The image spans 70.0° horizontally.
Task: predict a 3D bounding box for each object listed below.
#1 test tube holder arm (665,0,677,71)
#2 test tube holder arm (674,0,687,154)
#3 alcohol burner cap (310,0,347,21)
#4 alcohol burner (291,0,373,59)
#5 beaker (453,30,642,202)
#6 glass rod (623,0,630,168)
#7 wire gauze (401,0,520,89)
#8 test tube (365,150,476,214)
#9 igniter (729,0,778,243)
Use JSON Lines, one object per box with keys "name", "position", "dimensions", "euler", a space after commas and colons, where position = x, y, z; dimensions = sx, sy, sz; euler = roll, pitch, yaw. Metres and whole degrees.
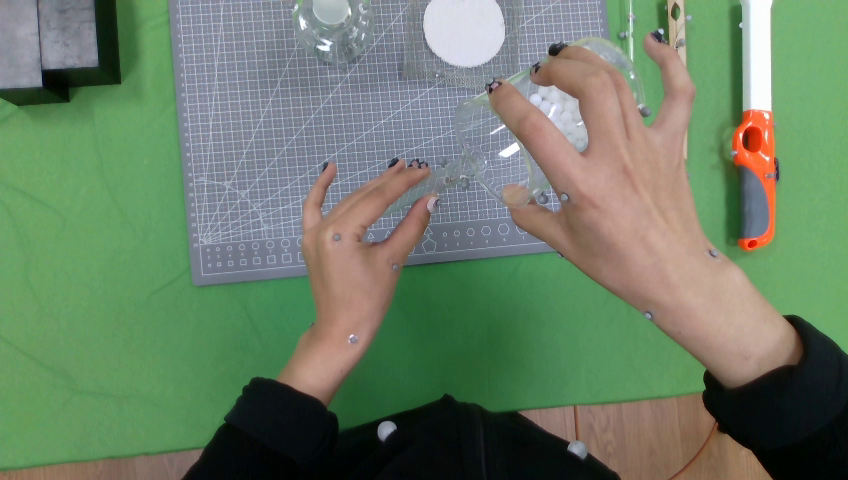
{"name": "test tube holder arm", "position": [0.266, -0.227, 0.651], "dimensions": [0.010, 0.015, 0.088], "euler": [-3, 89, 28]}
{"name": "test tube holder arm", "position": [0.273, -0.182, 0.648], "dimensions": [0.013, 0.015, 0.178], "euler": [-4, 89, 28]}
{"name": "alcohol burner cap", "position": [-0.085, -0.218, 0.529], "dimensions": [0.034, 0.048, 0.033], "euler": [1, 81, -5]}
{"name": "alcohol burner", "position": [-0.088, -0.215, 0.565], "dimensions": [0.078, 0.119, 0.078], "euler": [0, 88, -3]}
{"name": "beaker", "position": [0.078, -0.080, 0.383], "dimensions": [0.100, 0.084, 0.074], "euler": [-33, 96, -17]}
{"name": "glass rod", "position": [0.216, -0.177, 0.647], "dimensions": [0.008, 0.008, 0.199], "euler": [0, 90, -6]}
{"name": "wire gauze", "position": [0.040, -0.225, 0.631], "dimensions": [0.125, 0.011, 0.121], "euler": [6, 88, -6]}
{"name": "test tube", "position": [-0.009, -0.042, 0.468], "dimensions": [0.017, 0.150, 0.017], "euler": [6, 77, -31]}
{"name": "igniter", "position": [0.353, -0.134, 0.650], "dimensions": [0.057, 0.025, 0.276], "euler": [2, 88, -16]}
